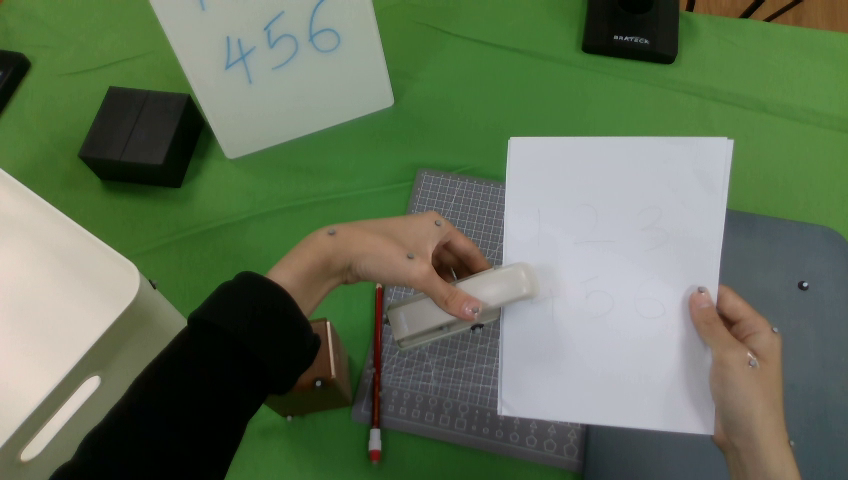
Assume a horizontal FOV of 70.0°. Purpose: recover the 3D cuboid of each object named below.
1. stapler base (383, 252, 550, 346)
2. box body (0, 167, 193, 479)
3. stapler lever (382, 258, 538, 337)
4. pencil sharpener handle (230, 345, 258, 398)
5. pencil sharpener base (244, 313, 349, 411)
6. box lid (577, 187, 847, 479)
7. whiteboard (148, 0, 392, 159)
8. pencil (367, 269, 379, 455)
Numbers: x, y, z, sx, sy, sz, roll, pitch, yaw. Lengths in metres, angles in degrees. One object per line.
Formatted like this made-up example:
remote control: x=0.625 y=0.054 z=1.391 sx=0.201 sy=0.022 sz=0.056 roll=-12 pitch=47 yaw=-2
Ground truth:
stapler base: x=0.031 y=0.044 z=0.464 sx=0.130 sy=0.024 sz=0.041 roll=-19 pitch=79 yaw=8
box body: x=-0.439 y=0.068 z=0.568 sx=0.362 sy=0.161 sz=0.253 roll=30 pitch=69 yaw=14
stapler lever: x=0.025 y=0.042 z=0.440 sx=0.118 sy=0.040 sz=0.026 roll=-19 pitch=78 yaw=8
pencil sharpener handle: x=-0.167 y=0.124 z=0.552 sx=0.030 sy=0.068 sz=0.035 roll=-10 pitch=49 yaw=-3
pencil sharpener base: x=-0.117 y=0.118 z=0.568 sx=0.077 sy=0.108 sz=0.061 roll=-10 pitch=65 yaw=-3
box lid: x=0.302 y=0.121 z=0.611 sx=0.263 sy=0.015 sz=0.369 roll=11 pitch=66 yaw=5
whiteboard: x=-0.184 y=-0.283 z=0.681 sx=0.217 sy=0.308 sz=0.142 roll=-20 pitch=46 yaw=-7
pencil: x=-0.051 y=0.118 z=0.618 sx=0.012 sy=0.012 sz=0.192 roll=-2 pitch=65 yaw=1
